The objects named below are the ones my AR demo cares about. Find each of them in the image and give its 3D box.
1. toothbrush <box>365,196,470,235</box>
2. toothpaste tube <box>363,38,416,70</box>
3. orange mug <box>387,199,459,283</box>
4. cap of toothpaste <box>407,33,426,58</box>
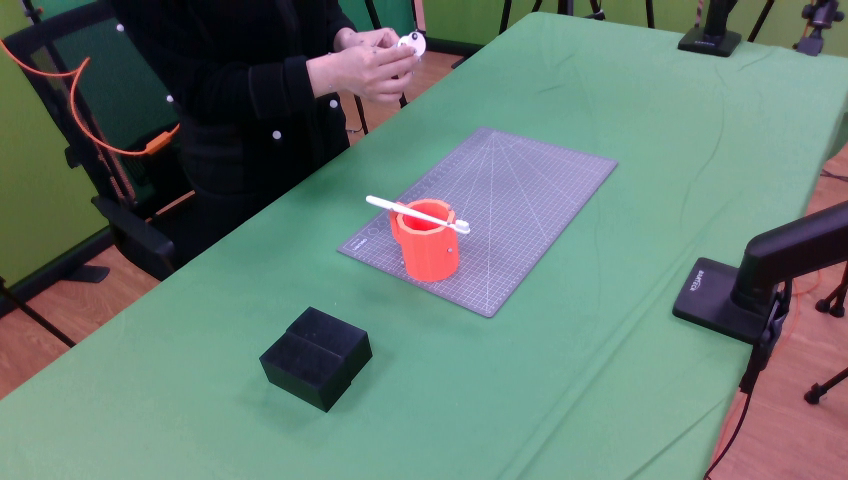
[{"bbox_3d":[-0.013,-0.039,0.880,0.180,0.017,0.014,18,50,27],"label":"toothbrush"},{"bbox_3d":[-0.047,-0.297,0.986,0.055,0.034,0.164,-1,3,-25],"label":"toothpaste tube"},{"bbox_3d":[-0.006,-0.007,0.922,0.125,0.101,0.084,33,54,32],"label":"orange mug"},{"bbox_3d":[-0.013,-0.293,0.910,0.037,0.037,0.011,-36,30,-30],"label":"cap of toothpaste"}]
